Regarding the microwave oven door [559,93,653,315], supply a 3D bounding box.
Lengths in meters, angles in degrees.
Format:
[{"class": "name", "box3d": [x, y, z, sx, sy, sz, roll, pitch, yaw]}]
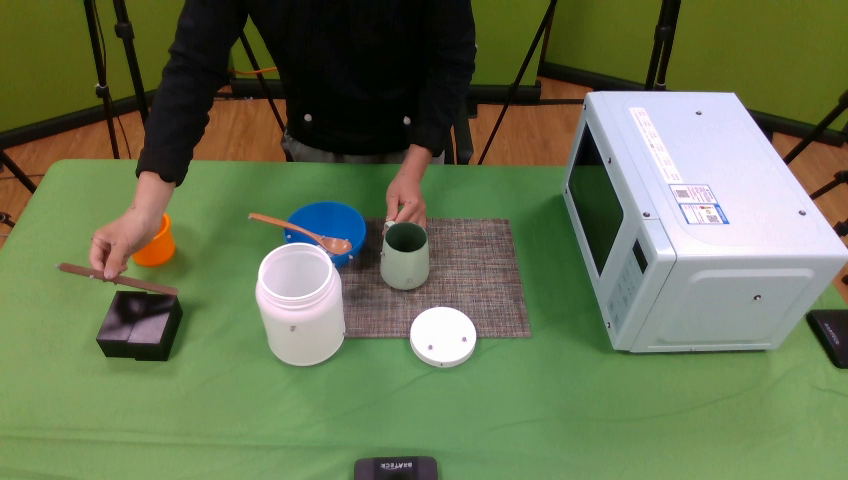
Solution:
[{"class": "microwave oven door", "box3d": [0.327, -0.074, 1.123, 0.039, 0.245, 0.353, -1, 46, -5]}]

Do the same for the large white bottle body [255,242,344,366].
[{"class": "large white bottle body", "box3d": [-0.196, 0.102, 0.967, 0.131, 0.185, 0.130, 2, 49, -2]}]

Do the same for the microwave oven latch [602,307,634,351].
[{"class": "microwave oven latch", "box3d": [0.332, 0.153, 1.044, 0.030, 0.029, 0.078, -1, 45, -4]}]

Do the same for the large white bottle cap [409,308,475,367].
[{"class": "large white bottle cap", "box3d": [0.031, 0.165, 1.041, 0.115, 0.018, 0.114, 2, 47, -2]}]

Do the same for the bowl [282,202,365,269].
[{"class": "bowl", "box3d": [-0.185, 0.006, 1.136, 0.151, 0.077, 0.150, 3, 46, -3]}]

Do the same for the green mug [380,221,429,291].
[{"class": "green mug", "box3d": [-0.043, 0.020, 1.116, 0.092, 0.105, 0.124, -20, 50, -21]}]

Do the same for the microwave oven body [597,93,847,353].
[{"class": "microwave oven body", "box3d": [0.475, -0.041, 1.109, 0.326, 0.261, 0.438, -1, 45, -4]}]

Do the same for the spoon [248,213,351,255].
[{"class": "spoon", "box3d": [-0.228, -0.014, 1.113, 0.194, 0.022, 0.041, 23, 41, -15]}]

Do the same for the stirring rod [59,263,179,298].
[{"class": "stirring rod", "box3d": [-0.484, 0.065, 0.968, 0.177, 0.006, 0.014, 19, 46, -25]}]
